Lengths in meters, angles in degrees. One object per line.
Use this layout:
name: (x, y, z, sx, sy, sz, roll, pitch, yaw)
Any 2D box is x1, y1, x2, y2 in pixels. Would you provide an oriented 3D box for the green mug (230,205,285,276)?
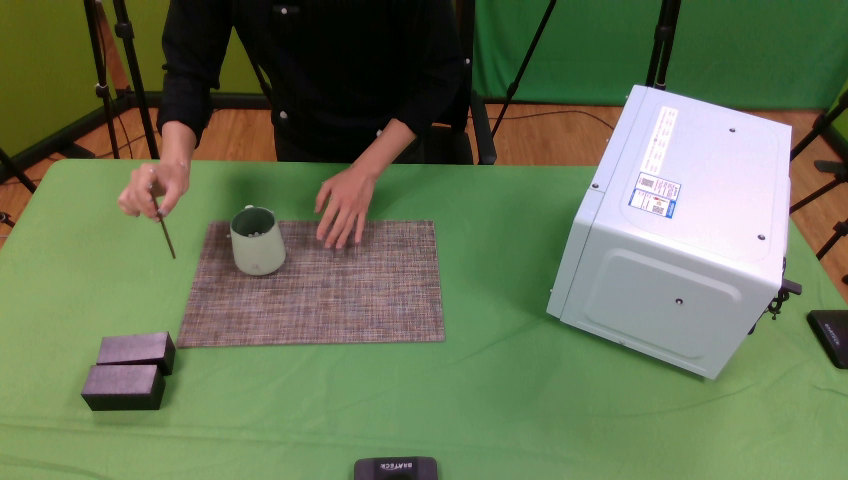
green mug: (-0.311, -0.008, 1.118, 0.092, 0.105, 0.124, -14, 49, -16)

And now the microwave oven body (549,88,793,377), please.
microwave oven body: (0.456, -0.028, 1.087, 0.325, 0.261, 0.440, 20, 47, 16)

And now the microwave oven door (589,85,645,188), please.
microwave oven door: (0.342, -0.107, 1.148, 0.039, 0.245, 0.354, 20, 48, 15)

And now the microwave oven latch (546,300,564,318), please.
microwave oven latch: (0.242, 0.102, 1.081, 0.030, 0.029, 0.079, 21, 48, 17)

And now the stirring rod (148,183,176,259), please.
stirring rod: (-0.411, -0.026, 0.955, 0.006, 0.177, 0.014, -15, 56, -20)
